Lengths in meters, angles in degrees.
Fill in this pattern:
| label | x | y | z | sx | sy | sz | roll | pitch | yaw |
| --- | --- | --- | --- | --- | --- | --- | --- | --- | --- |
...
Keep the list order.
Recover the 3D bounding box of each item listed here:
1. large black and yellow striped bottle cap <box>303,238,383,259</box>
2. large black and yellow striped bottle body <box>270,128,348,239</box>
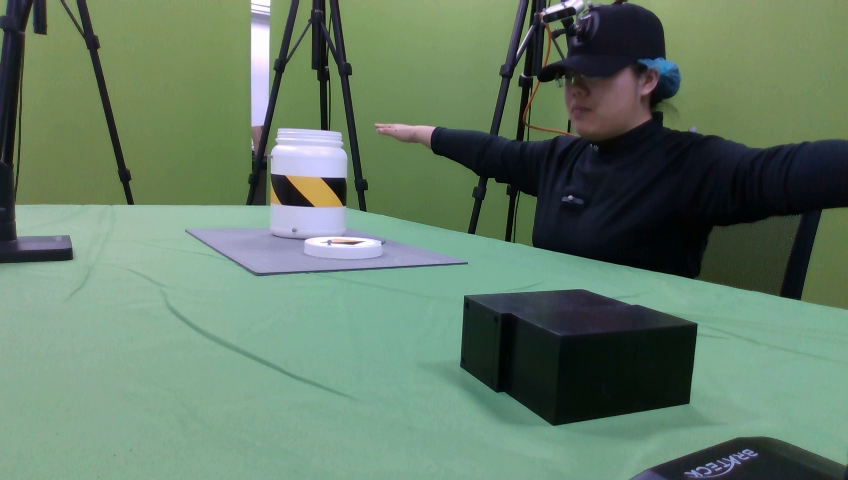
| label | x | y | z | sx | sy | sz | roll | pitch | yaw |
| --- | --- | --- | --- | --- | --- | --- | --- | --- | --- |
| large black and yellow striped bottle cap | -0.117 | 0.011 | 0.880 | 0.115 | 0.019 | 0.115 | 2 | 6 | 0 |
| large black and yellow striped bottle body | -0.200 | -0.099 | 1.053 | 0.131 | 0.184 | 0.130 | 3 | 8 | 0 |
